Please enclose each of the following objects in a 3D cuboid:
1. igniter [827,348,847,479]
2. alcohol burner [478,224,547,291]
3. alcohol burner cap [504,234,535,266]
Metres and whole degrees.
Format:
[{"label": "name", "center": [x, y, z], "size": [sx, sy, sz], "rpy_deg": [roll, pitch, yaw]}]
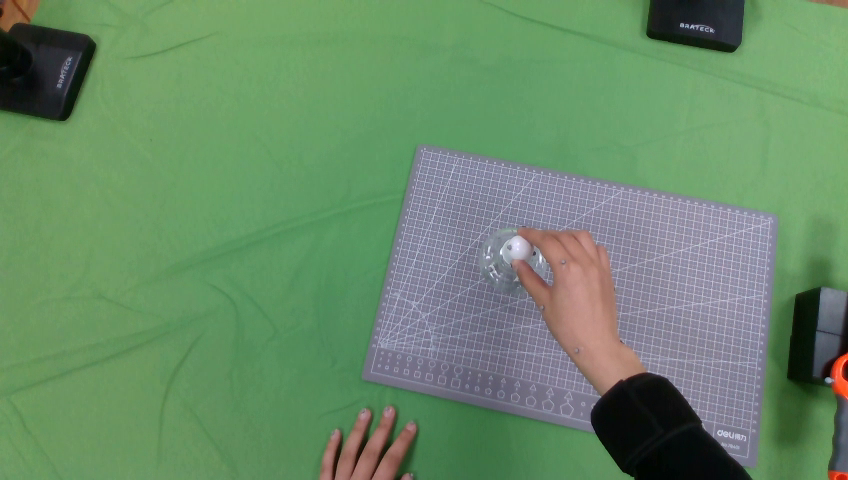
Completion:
[{"label": "igniter", "center": [0.465, 0.120, 0.641], "size": [0.057, 0.025, 0.275], "rpy_deg": [16, 75, 7]}, {"label": "alcohol burner", "center": [0.100, 0.016, 0.670], "size": [0.078, 0.119, 0.077], "rpy_deg": [0, 75, -1]}, {"label": "alcohol burner cap", "center": [0.101, 0.010, 0.634], "size": [0.034, 0.048, 0.034], "rpy_deg": [-1, 84, 7]}]
